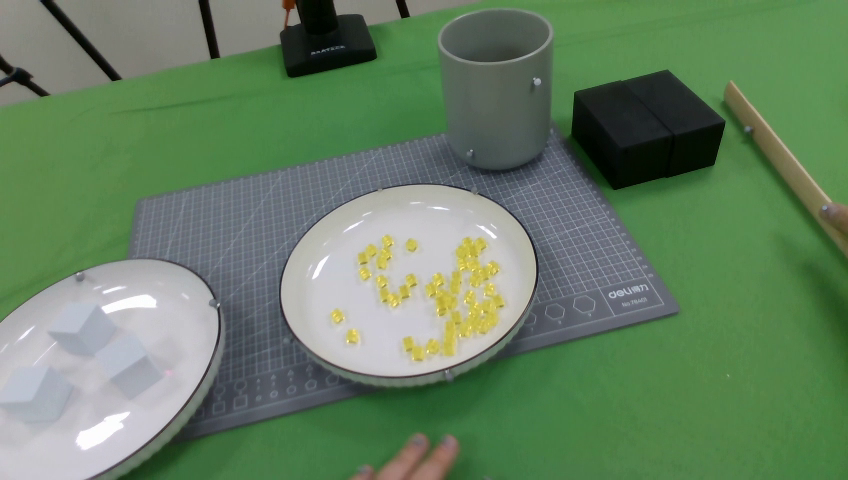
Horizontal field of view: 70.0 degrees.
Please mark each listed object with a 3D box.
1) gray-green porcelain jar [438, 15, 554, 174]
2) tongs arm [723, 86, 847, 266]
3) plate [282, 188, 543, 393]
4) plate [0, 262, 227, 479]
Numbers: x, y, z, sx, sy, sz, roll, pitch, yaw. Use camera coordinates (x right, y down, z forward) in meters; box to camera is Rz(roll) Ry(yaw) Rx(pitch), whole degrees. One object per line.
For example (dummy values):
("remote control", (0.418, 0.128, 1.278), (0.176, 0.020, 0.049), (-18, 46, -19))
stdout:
("gray-green porcelain jar", (0.072, -0.137, 0.592), (0.106, 0.128, 0.105), (-5, 45, 5))
("tongs arm", (0.346, -0.022, 0.511), (0.028, 0.028, 0.383), (-8, 45, -2))
("plate", (-0.008, 0.037, 0.495), (0.207, 0.039, 0.205), (-4, 45, 5))
("plate", (-0.251, 0.105, 0.466), (0.209, 0.038, 0.207), (-5, 45, 6))
